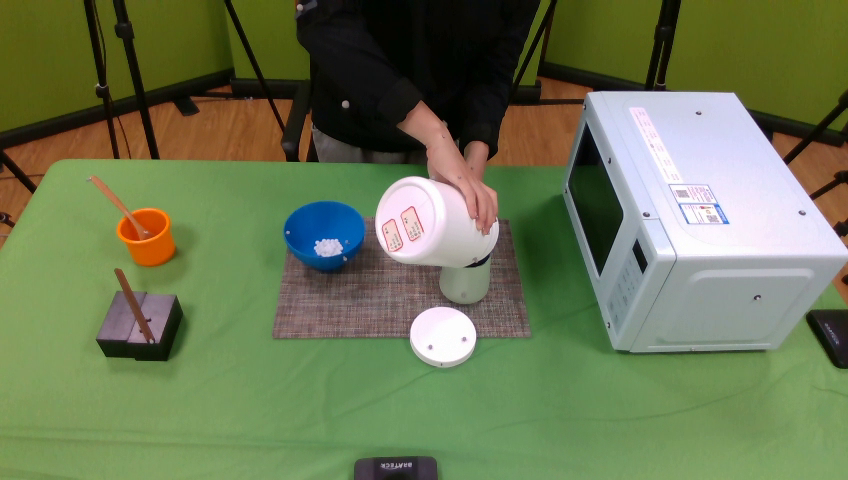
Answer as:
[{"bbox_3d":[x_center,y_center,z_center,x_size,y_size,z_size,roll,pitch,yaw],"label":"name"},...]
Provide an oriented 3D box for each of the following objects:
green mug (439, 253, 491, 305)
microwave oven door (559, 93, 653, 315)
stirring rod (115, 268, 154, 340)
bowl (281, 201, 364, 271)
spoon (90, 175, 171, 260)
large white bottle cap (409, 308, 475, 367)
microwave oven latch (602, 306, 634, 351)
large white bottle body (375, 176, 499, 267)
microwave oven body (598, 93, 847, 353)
[{"bbox_3d":[0.072,0.044,1.101,0.092,0.105,0.124,-6,47,-9],"label":"green mug"},{"bbox_3d":[0.327,-0.074,1.123,0.039,0.245,0.353,-1,46,-5],"label":"microwave oven door"},{"bbox_3d":[-0.479,0.103,0.999,0.014,0.006,0.175,8,32,-49],"label":"stirring rod"},{"bbox_3d":[-0.187,0.005,1.137,0.151,0.077,0.150,3,46,-3],"label":"bowl"},{"bbox_3d":[-0.538,-0.042,1.111,0.041,0.194,0.021,-45,19,-32],"label":"spoon"},{"bbox_3d":[0.031,0.166,1.041,0.115,0.018,0.114,2,46,-2],"label":"large white bottle cap"},{"bbox_3d":[0.332,0.153,1.044,0.030,0.029,0.078,0,45,-4],"label":"microwave oven latch"},{"bbox_3d":[0.027,-0.023,0.957,0.130,0.131,0.185,43,20,31],"label":"large white bottle body"},{"bbox_3d":[0.475,-0.041,1.109,0.326,0.261,0.438,-1,45,-4],"label":"microwave oven body"}]
